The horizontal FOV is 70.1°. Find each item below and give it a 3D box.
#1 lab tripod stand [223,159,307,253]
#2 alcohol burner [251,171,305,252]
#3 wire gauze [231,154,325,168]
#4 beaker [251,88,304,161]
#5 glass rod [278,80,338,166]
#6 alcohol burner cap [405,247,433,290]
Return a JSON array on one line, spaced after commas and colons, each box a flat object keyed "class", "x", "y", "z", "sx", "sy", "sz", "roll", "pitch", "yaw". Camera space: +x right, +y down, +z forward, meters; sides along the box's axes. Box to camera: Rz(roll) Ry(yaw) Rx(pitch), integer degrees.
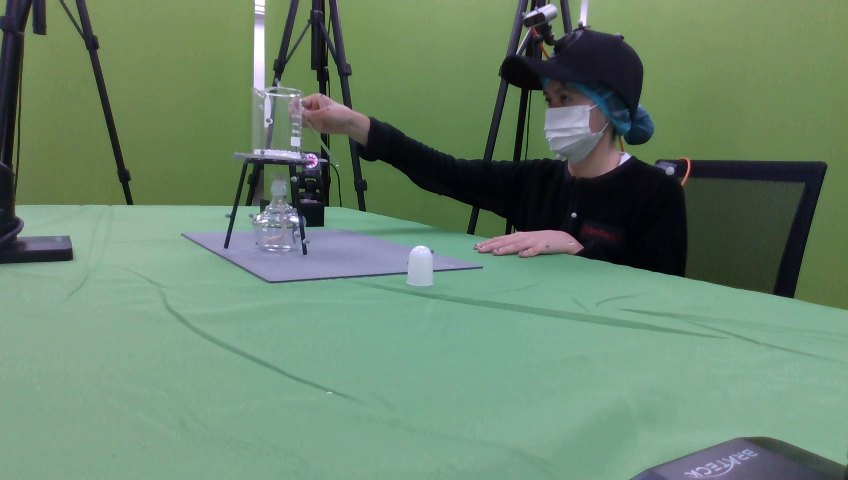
[{"class": "lab tripod stand", "x": -0.220, "y": -0.053, "z": 0.896, "sx": 0.148, "sy": 0.131, "sz": 0.148, "roll": 1, "pitch": 6, "yaw": 0}, {"class": "alcohol burner", "x": -0.214, "y": -0.042, "z": 0.888, "sx": 0.078, "sy": 0.119, "sz": 0.078, "roll": 1, "pitch": 9, "yaw": 0}, {"class": "wire gauze", "x": -0.215, "y": -0.117, "z": 0.882, "sx": 0.125, "sy": 0.011, "sz": 0.121, "roll": 3, "pitch": 7, "yaw": -19}, {"class": "beaker", "x": -0.214, "y": -0.165, "z": 0.874, "sx": 0.074, "sy": 0.100, "sz": 0.084, "roll": 4, "pitch": 6, "yaw": 15}, {"class": "glass rod", "x": -0.218, "y": -0.219, "z": 1.149, "sx": 0.008, "sy": 0.200, "sz": 0.008, "roll": -21, "pitch": 35, "yaw": 16}, {"class": "alcohol burner cap", "x": -0.005, "y": 0.031, "z": 0.698, "sx": 0.034, "sy": 0.048, "sz": 0.034, "roll": 3, "pitch": 8, "yaw": 0}]
